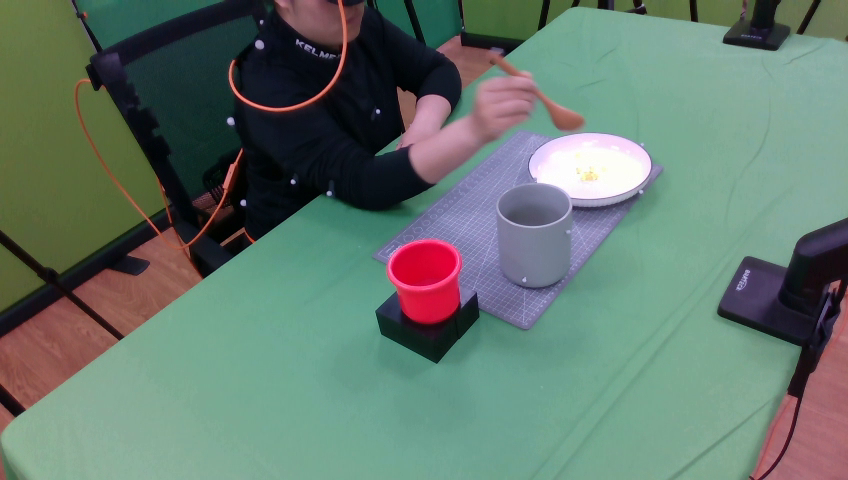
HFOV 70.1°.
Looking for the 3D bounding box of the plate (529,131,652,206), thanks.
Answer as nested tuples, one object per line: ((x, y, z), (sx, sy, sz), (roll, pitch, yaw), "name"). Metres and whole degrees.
((0.287, -0.121, 1.056), (0.207, 0.039, 0.206), (-5, 40, 5), "plate")

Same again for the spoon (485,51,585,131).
((0.158, -0.209, 0.859), (0.041, 0.195, 0.021), (-31, 36, 45), "spoon")

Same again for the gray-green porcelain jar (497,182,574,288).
((0.161, -0.003, 0.869), (0.106, 0.127, 0.105), (-5, 40, 5), "gray-green porcelain jar")
